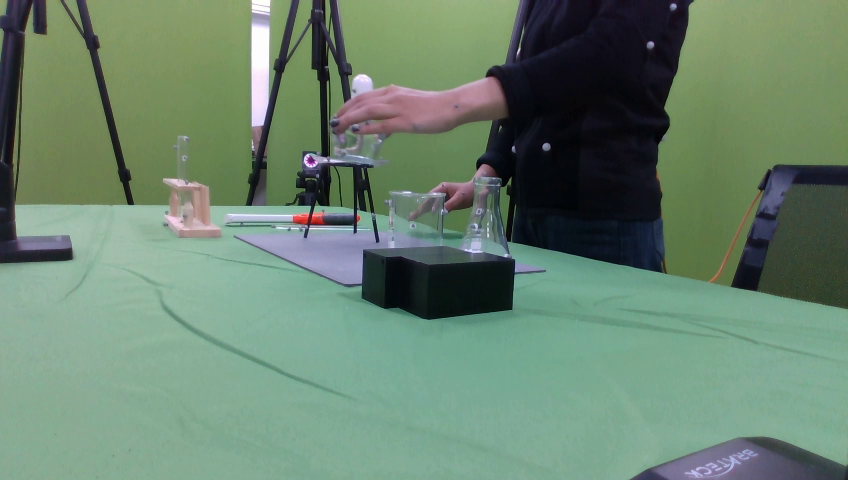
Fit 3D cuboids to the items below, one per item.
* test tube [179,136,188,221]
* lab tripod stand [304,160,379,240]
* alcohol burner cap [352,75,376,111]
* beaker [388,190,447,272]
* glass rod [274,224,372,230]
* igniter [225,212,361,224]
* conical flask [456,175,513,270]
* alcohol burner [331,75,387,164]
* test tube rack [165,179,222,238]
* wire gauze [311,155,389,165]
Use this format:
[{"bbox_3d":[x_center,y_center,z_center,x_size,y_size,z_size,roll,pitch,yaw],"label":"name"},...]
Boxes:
[{"bbox_3d":[-0.425,-0.108,1.070,0.017,0.150,0.017,4,9,0],"label":"test tube"},{"bbox_3d":[-0.131,-0.071,1.047,0.148,0.131,0.148,4,7,0],"label":"lab tripod stand"},{"bbox_3d":[-0.082,-0.199,0.820,0.034,0.048,0.034,2,7,0],"label":"alcohol burner cap"},{"bbox_3d":[-0.010,-0.013,0.771,0.074,0.100,0.084,3,7,4],"label":"beaker"},{"bbox_3d":[-0.193,-0.024,1.176,0.201,0.008,0.008,1,6,-31],"label":"glass rod"},{"bbox_3d":[-0.262,-0.044,1.240,0.278,0.025,0.057,-2,-1,-31],"label":"igniter"},{"bbox_3d":[0.083,-0.025,0.801,0.075,0.122,0.075,2,7,0],"label":"conical flask"},{"bbox_3d":[-0.086,-0.164,0.824,0.078,0.119,0.078,11,8,-1],"label":"alcohol burner"},{"bbox_3d":[-0.423,-0.062,1.098,0.067,0.085,0.241,-2,9,-28],"label":"test tube rack"},{"bbox_3d":[-0.128,-0.137,1.042,0.122,0.011,0.124,1,8,-18],"label":"wire gauze"}]
